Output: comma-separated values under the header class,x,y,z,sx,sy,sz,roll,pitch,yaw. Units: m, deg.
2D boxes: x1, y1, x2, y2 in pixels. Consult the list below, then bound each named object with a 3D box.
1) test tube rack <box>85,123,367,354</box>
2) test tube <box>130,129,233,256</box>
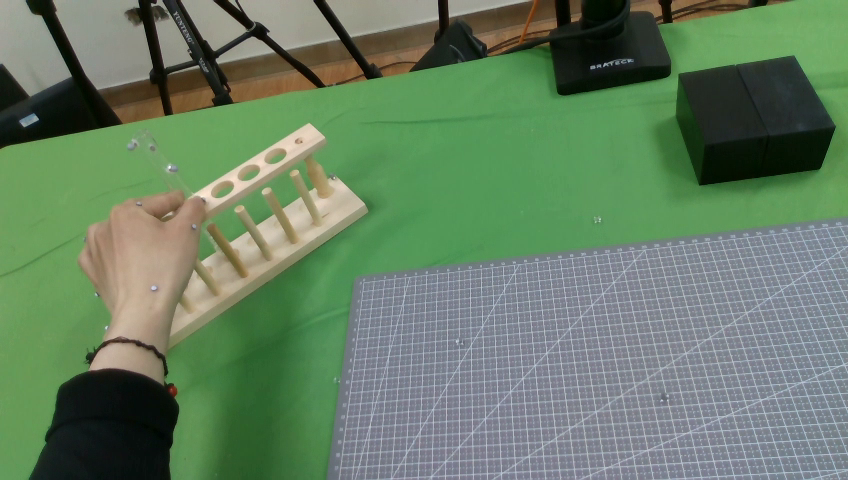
class,x,y,z,sx,sy,sz,roll,pitch,yaw
test tube rack,-0.182,-0.005,0.583,0.242,0.086,0.066,-36,50,-14
test tube,-0.217,-0.038,0.554,0.017,0.152,0.017,-12,44,12
